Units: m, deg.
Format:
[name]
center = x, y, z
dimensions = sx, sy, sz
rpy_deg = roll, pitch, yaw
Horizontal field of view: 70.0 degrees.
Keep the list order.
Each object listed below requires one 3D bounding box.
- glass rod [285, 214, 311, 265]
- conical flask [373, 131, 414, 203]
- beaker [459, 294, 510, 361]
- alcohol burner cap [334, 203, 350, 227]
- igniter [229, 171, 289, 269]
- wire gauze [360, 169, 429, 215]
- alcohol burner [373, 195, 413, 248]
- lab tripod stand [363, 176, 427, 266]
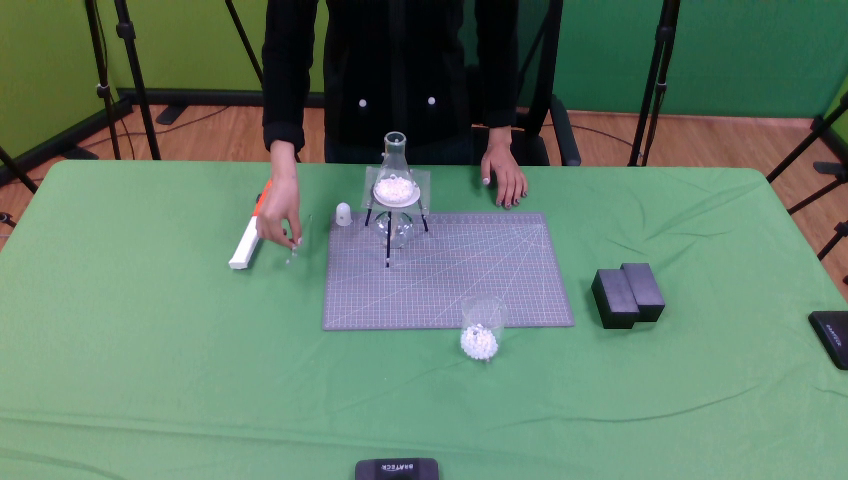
[glass rod]
center = -0.237, -0.005, 1.155
dimensions = 0.008, 0.008, 0.198
rpy_deg = 5, 29, 1
[conical flask]
center = -0.053, -0.131, 1.067
dimensions = 0.075, 0.122, 0.075
rpy_deg = 2, 44, -2
[beaker]
center = 0.095, 0.147, 1.012
dimensions = 0.083, 0.101, 0.074
rpy_deg = 26, 49, 21
[alcohol burner cap]
center = -0.166, -0.054, 1.221
dimensions = 0.034, 0.048, 0.033
rpy_deg = 2, 46, -2
[igniter]
center = -0.328, -0.049, 1.218
dimensions = 0.057, 0.025, 0.275
rpy_deg = 1, 45, 11
[wire gauze]
center = -0.052, -0.092, 1.112
dimensions = 0.125, 0.011, 0.120
rpy_deg = 3, 43, 1
[alcohol burner]
center = -0.059, -0.041, 1.167
dimensions = 0.078, 0.119, 0.077
rpy_deg = 4, 46, -4
[lab tripod stand]
center = -0.058, -0.047, 1.159
dimensions = 0.148, 0.132, 0.147
rpy_deg = 3, 44, -2
